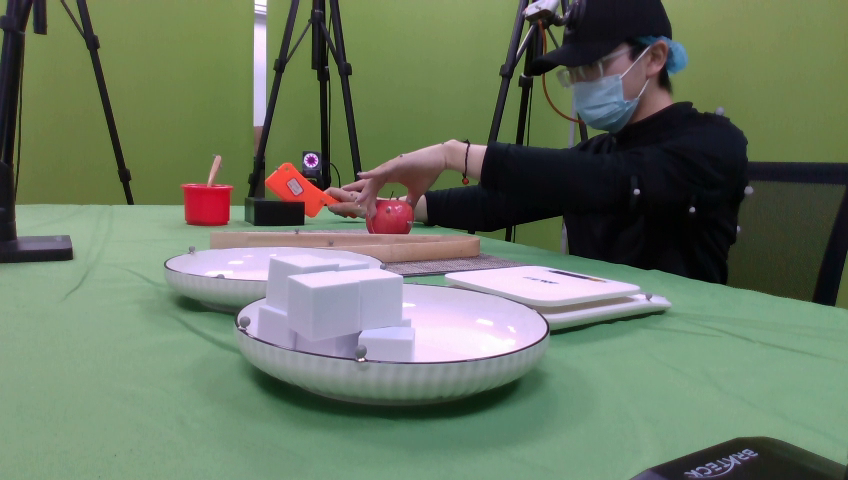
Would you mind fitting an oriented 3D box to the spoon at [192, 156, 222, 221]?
[{"bbox_3d":[-0.430,-0.108,1.222,0.041,0.021,0.193,-1,52,0],"label":"spoon"}]

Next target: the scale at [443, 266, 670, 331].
[{"bbox_3d":[0.131,0.052,0.603,0.202,0.031,0.148,-2,9,-37],"label":"scale"}]

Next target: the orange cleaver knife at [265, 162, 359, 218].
[{"bbox_3d":[-0.237,-0.089,1.295,0.212,0.077,0.012,33,-4,-28],"label":"orange cleaver knife"}]

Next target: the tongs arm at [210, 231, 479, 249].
[{"bbox_3d":[-0.106,0.005,0.876,0.386,0.026,0.050,1,7,-20],"label":"tongs arm"}]

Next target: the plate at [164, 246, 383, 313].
[{"bbox_3d":[-0.145,0.038,0.600,0.209,0.038,0.209,2,7,0],"label":"plate"}]

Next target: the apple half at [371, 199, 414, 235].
[{"bbox_3d":[-0.046,-0.031,0.998,0.082,0.081,0.032,-1,5,-27],"label":"apple half"}]

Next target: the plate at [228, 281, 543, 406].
[{"bbox_3d":[-0.025,0.067,0.413,0.208,0.039,0.207,3,7,0],"label":"plate"}]

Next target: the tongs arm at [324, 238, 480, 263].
[{"bbox_3d":[-0.070,0.018,0.800,0.390,0.028,0.028,-2,5,-34],"label":"tongs arm"}]

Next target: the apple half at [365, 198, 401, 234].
[{"bbox_3d":[-0.065,-0.035,1.031,0.081,0.074,0.053,-5,6,-27],"label":"apple half"}]
